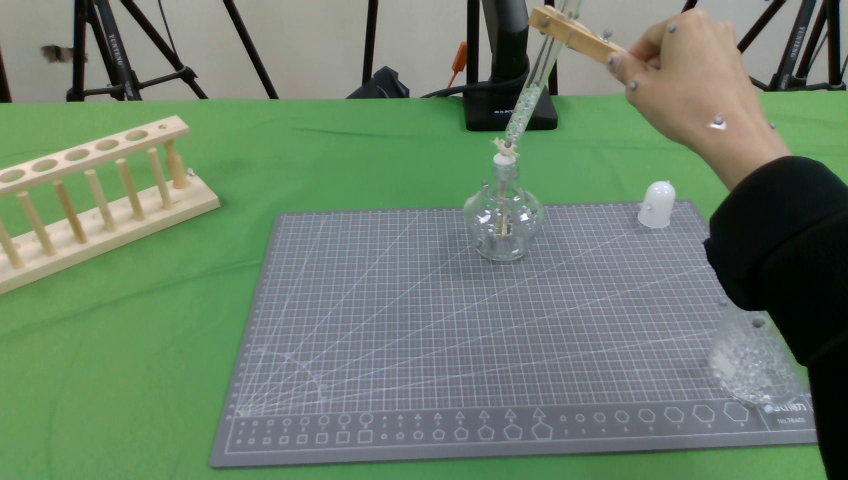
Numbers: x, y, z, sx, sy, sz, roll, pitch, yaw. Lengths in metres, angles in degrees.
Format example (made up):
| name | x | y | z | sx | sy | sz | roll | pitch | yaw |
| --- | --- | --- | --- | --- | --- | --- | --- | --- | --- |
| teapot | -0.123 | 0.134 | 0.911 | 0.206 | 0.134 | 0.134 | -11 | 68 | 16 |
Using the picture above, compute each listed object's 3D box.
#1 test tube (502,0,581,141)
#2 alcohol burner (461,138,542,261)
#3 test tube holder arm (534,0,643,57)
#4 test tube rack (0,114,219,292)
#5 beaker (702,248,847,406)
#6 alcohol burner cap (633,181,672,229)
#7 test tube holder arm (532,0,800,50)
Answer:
| name | x | y | z | sx | sy | sz | roll | pitch | yaw |
| --- | --- | --- | --- | --- | --- | --- | --- | --- | --- |
| test tube | 0.093 | -0.141 | 0.473 | 0.017 | 0.151 | 0.017 | 12 | 42 | -10 |
| alcohol burner | 0.073 | -0.040 | 0.568 | 0.078 | 0.120 | 0.077 | -1 | 38 | 1 |
| test tube holder arm | 0.124 | -0.158 | 0.449 | 0.088 | 0.010 | 0.015 | 20 | 56 | -3 |
| test tube rack | -0.339 | -0.038 | 0.596 | 0.242 | 0.086 | 0.066 | -27 | 46 | -29 |
| beaker | 0.252 | 0.066 | 0.448 | 0.074 | 0.101 | 0.083 | -21 | 43 | -23 |
| alcohol burner cap | 0.236 | -0.039 | 0.622 | 0.034 | 0.048 | 0.033 | 0 | 39 | 1 |
| test tube holder arm | 0.165 | -0.157 | 0.433 | 0.177 | 0.013 | 0.015 | -4 | 48 | 26 |
